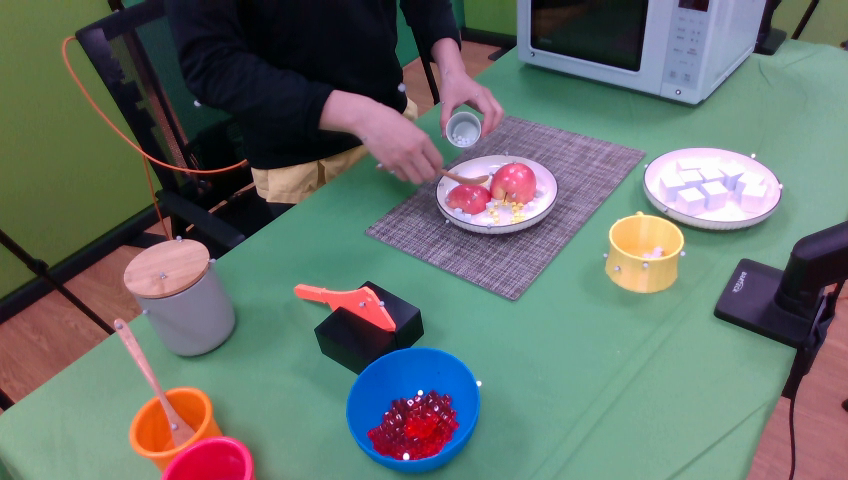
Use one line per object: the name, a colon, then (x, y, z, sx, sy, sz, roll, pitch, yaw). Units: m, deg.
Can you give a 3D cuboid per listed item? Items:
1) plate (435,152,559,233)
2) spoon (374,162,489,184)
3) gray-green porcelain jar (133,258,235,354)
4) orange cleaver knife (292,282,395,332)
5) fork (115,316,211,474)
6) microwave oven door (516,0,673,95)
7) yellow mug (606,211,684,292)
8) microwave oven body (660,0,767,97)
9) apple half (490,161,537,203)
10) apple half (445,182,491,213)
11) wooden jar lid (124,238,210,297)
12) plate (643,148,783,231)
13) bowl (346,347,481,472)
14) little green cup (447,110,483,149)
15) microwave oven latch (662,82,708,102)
plate: (0.124, -0.078, 1.026, 0.209, 0.038, 0.208, -4, 40, 4)
spoon: (0.014, -0.105, 0.924, 0.195, 0.021, 0.041, 7, 4, -26)
gray-green porcelain jar: (-0.327, 0.086, 0.836, 0.106, 0.127, 0.105, -4, 41, 4)
orange cleaver knife: (-0.116, 0.091, 0.835, 0.209, 0.077, 0.012, 2, 32, 48)
fork: (-0.308, 0.179, 0.708, 0.028, 0.018, 0.207, -30, 89, -22)
microwave oven door: (0.344, -0.458, 1.257, 0.353, 0.245, 0.039, 26, 51, 33)
yellow mug: (0.318, 0.007, 0.883, 0.100, 0.064, 0.130, 0, 41, 8)
microwave oven body: (0.474, -0.516, 1.313, 0.438, 0.261, 0.327, 26, 51, 34)
apple half: (0.154, -0.106, 1.030, 0.080, 0.053, 0.075, 22, 46, 31)
apple half: (0.077, -0.084, 1.029, 0.081, 0.033, 0.081, -2, 42, 3)
wooden jar lid: (-0.335, 0.039, 0.794, 0.108, 0.021, 0.108, -2, 40, 2)
plate: (0.464, -0.080, 0.986, 0.207, 0.039, 0.206, -4, 41, 4)
bowl: (-0.008, 0.205, 0.691, 0.151, 0.077, 0.150, -4, 40, 4)
little green cup: (0.068, -0.187, 1.034, 0.061, 0.038, 0.061, 0, 78, -1)
microwave oven latch: (0.518, -0.298, 1.202, 0.078, 0.029, 0.030, 28, 53, 35)
